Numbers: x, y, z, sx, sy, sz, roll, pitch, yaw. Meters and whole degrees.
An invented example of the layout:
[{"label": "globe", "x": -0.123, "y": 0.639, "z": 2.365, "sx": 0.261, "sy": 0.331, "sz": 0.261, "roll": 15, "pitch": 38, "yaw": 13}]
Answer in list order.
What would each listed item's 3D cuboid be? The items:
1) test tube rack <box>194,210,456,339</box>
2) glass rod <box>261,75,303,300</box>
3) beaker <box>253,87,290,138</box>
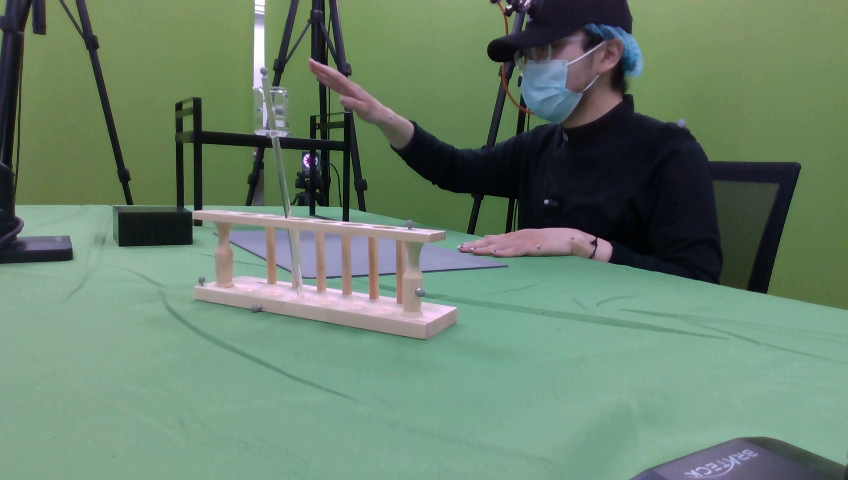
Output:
[{"label": "test tube rack", "x": -0.093, "y": 0.023, "z": 0.546, "sx": 0.241, "sy": 0.085, "sz": 0.067, "roll": 6, "pitch": 8, "yaw": 25}, {"label": "glass rod", "x": -0.124, "y": -0.043, "z": 0.532, "sx": 0.008, "sy": 0.199, "sz": 0.008, "roll": -7, "pitch": 8, "yaw": 1}, {"label": "beaker", "x": -0.319, "y": -0.265, "z": 1.259, "sx": 0.073, "sy": 0.100, "sz": 0.084, "roll": 7, "pitch": 9, "yaw": 33}]
